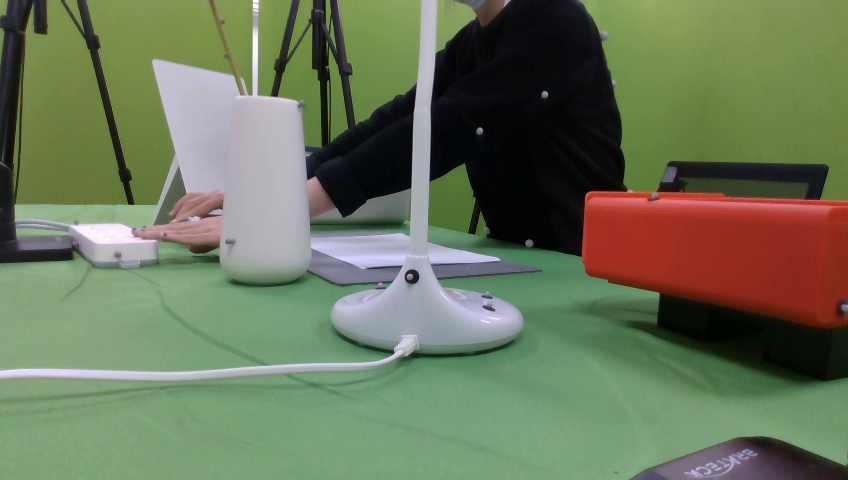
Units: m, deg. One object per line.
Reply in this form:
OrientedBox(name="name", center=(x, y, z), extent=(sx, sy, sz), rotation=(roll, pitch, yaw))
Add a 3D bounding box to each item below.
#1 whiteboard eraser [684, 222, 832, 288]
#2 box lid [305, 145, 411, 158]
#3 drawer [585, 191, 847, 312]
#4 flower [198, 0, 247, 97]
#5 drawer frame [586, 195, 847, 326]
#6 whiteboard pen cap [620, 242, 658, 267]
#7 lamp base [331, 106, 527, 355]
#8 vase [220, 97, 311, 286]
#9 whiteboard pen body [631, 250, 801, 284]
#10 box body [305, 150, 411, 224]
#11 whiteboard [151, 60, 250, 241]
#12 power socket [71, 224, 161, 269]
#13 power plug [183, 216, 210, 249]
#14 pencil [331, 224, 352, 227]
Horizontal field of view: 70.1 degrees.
OrientedBox(name="whiteboard eraser", center=(0.304, 0.013, 0.558), extent=(0.056, 0.042, 0.112), rotation=(-10, 20, -30))
OrientedBox(name="box lid", center=(-0.232, -0.200, 1.363), extent=(0.373, 0.015, 0.262), rotation=(0, 7, -29))
OrientedBox(name="drawer", center=(0.280, 0.001, 0.513), extent=(0.195, 0.073, 0.211), rotation=(-1, 8, -28))
OrientedBox(name="flower", center=(-0.187, -0.133, 0.648), extent=(0.038, 0.362, 0.044), rotation=(-1, 22, 43))
OrientedBox(name="drawer frame", center=(0.284, 0.004, 0.508), extent=(0.203, 0.082, 0.212), rotation=(-1, 6, -28))
OrientedBox(name="whiteboard pen cap", center=(0.199, 0.014, 0.556), extent=(0.018, 0.018, 0.033), rotation=(-4, 16, -38))
OrientedBox(name="lamp base", center=(0.006, -0.012, 0.478), extent=(0.161, 0.180, 0.179), rotation=(2, 10, 2))
OrientedBox(name="vase", center=(-0.172, -0.052, 0.662), extent=(0.098, 0.200, 0.098), rotation=(3, 9, 0))
OrientedBox(name="whiteboard pen body", center=(0.240, 0.021, 0.512), extent=(0.017, 0.017, 0.140), rotation=(-4, 8, -41))
OrientedBox(name="box body", center=(-0.233, -0.127, 1.374), extent=(0.366, 0.160, 0.253), rotation=(-2, 8, -29))
OrientedBox(name="whiteboard", center=(-0.408, -0.139, 1.093), extent=(0.143, 0.305, 0.218), rotation=(-15, 0, 25))
OrientedBox(name="power socket", center=(-0.408, 0.004, 0.793), extent=(0.072, 0.032, 0.225), rotation=(-2, 8, -38))
OrientedBox(name="power plug", center=(-0.333, -0.007, 0.892), extent=(0.035, 0.052, 0.072), rotation=(-4, -14, -14))
OrientedBox(name="pencil", center=(-0.247, -0.044, 1.339), extent=(0.195, 0.012, 0.012), rotation=(8, 4, -29))
